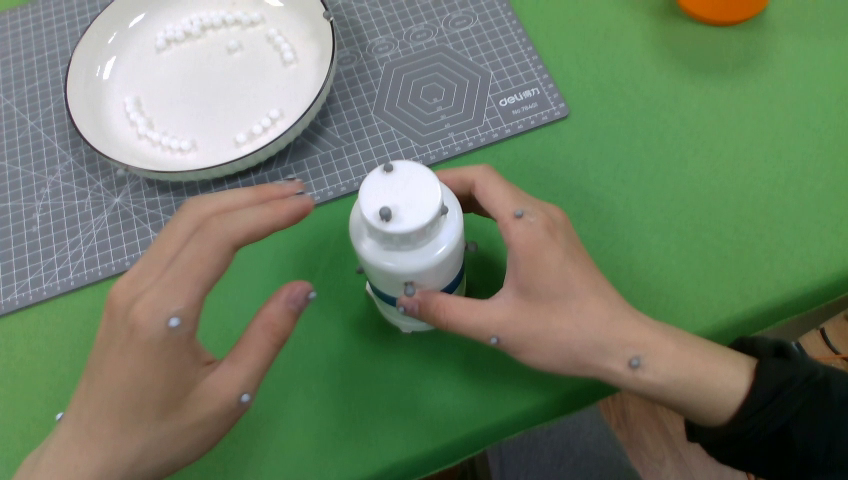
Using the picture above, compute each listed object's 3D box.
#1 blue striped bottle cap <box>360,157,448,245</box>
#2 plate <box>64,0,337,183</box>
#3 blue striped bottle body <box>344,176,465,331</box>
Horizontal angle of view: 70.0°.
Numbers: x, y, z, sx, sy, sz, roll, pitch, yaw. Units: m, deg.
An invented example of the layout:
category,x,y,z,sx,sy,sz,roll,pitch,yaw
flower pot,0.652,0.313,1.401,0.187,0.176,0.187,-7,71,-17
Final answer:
category,x,y,z,sx,sy,sz,roll,pitch,yaw
blue striped bottle cap,-0.011,-0.020,0.310,0.044,0.021,0.044,-4,64,9
plate,-0.168,-0.131,0.473,0.207,0.039,0.206,-2,66,4
blue striped bottle body,-0.009,0.004,0.355,0.063,0.122,0.062,-2,61,5
